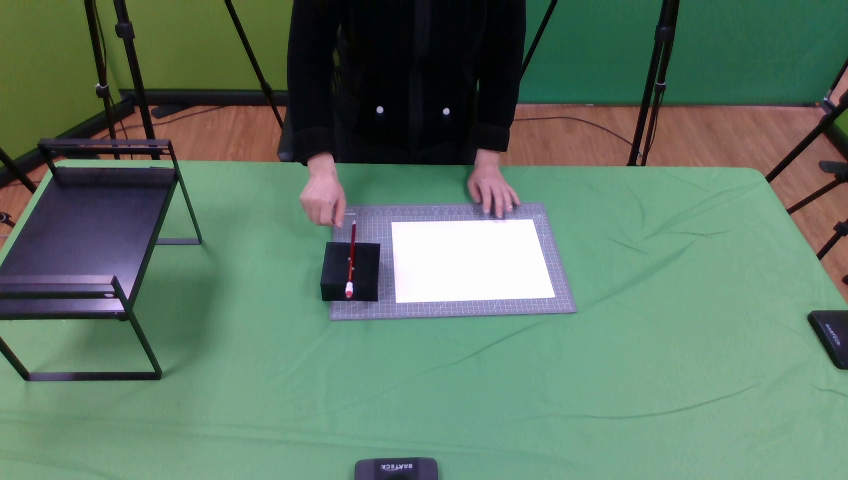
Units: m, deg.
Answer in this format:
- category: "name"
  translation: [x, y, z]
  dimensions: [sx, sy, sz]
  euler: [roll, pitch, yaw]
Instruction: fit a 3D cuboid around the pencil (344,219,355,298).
- category: "pencil"
  translation: [-0.132, 0.028, 1.097]
  dimensions: [0.012, 0.012, 0.193]
  euler: [1, 46, -3]
